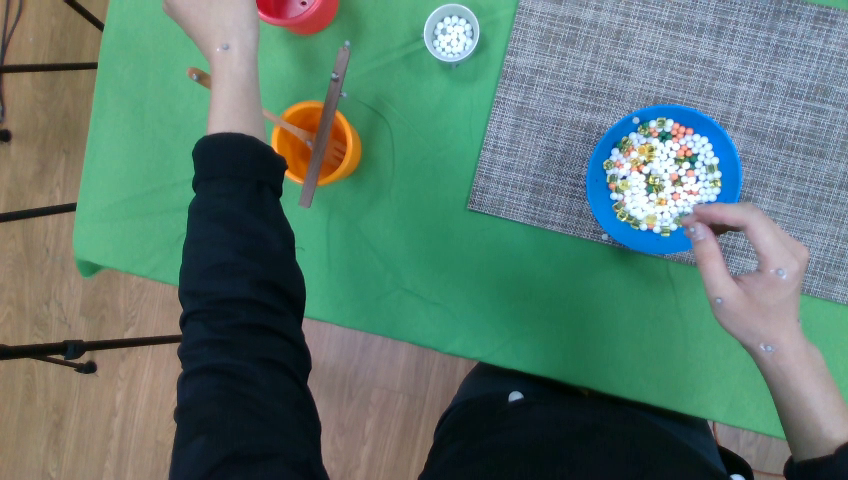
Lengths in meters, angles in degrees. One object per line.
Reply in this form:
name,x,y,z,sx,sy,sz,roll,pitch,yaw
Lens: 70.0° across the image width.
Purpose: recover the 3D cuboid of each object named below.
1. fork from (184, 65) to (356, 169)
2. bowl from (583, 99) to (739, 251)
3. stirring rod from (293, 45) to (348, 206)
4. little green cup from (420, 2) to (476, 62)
fork,-0.160,-0.131,0.657,0.209,0.018,0.028,26,104,-39
bowl,0.242,-0.066,0.643,0.151,0.077,0.151,1,95,8
stirring rod,-0.111,-0.121,0.649,0.014,0.006,0.176,18,97,3
little green cup,0.029,-0.230,0.679,0.061,0.038,0.061,1,96,8
